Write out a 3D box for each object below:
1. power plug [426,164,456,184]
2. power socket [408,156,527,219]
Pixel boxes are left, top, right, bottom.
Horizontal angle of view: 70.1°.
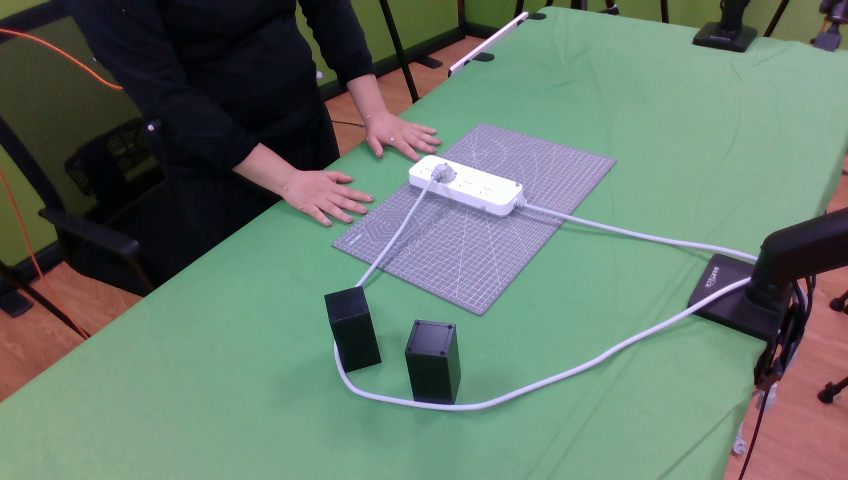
[{"bbox_3d":[0.024,-0.103,1.047,0.073,0.053,0.035,-36,46,-26],"label":"power plug"},{"bbox_3d":[0.070,-0.095,1.060,0.225,0.033,0.072,22,49,30],"label":"power socket"}]
